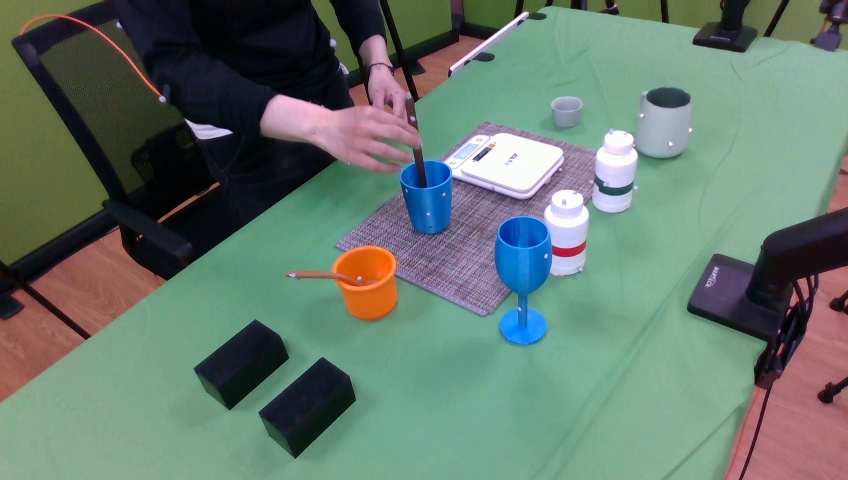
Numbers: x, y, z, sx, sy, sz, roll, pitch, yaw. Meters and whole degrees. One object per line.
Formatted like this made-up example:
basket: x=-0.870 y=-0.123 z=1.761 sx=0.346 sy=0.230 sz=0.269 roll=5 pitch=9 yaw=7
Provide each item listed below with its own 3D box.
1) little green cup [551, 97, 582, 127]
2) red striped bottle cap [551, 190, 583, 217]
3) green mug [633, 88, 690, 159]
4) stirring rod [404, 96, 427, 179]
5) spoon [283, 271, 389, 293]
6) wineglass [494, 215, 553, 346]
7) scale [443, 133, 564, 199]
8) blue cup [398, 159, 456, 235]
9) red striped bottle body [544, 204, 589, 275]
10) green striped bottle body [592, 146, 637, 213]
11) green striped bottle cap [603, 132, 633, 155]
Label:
little green cup: x=0.284 y=-0.255 z=1.213 sx=0.061 sy=0.039 sz=0.061 roll=-4 pitch=41 yaw=4
red striped bottle cap: x=0.200 y=-0.052 z=0.843 sx=0.044 sy=0.018 sz=0.044 roll=-3 pitch=41 yaw=3
green mug: x=0.423 y=-0.217 z=1.099 sx=0.093 sy=0.105 sz=0.124 roll=-16 pitch=41 yaw=-10
stirring rod: x=-0.010 y=-0.139 z=0.896 sx=0.014 sy=0.177 sz=0.005 roll=-38 pitch=54 yaw=-22
spoon: x=-0.116 y=0.054 z=0.824 sx=0.041 sy=0.195 sz=0.021 roll=22 pitch=92 yaw=37
wineglass: x=0.127 y=0.055 z=0.770 sx=0.074 sy=0.173 sz=0.073 roll=-4 pitch=40 yaw=4
scale: x=0.137 y=-0.142 z=1.101 sx=0.199 sy=0.032 sz=0.149 roll=22 pitch=48 yaw=30
blue cup: x=0.006 y=-0.065 z=0.977 sx=0.092 sy=0.100 sz=0.092 roll=-4 pitch=39 yaw=4
red striped bottle body: x=0.206 y=-0.011 z=0.877 sx=0.063 sy=0.120 sz=0.062 roll=-5 pitch=41 yaw=4
green striped bottle body: x=0.307 y=-0.108 z=0.976 sx=0.063 sy=0.120 sz=0.063 roll=-4 pitch=41 yaw=4
green striped bottle cap: x=0.302 y=-0.149 z=0.939 sx=0.044 sy=0.020 sz=0.044 roll=-3 pitch=40 yaw=3
